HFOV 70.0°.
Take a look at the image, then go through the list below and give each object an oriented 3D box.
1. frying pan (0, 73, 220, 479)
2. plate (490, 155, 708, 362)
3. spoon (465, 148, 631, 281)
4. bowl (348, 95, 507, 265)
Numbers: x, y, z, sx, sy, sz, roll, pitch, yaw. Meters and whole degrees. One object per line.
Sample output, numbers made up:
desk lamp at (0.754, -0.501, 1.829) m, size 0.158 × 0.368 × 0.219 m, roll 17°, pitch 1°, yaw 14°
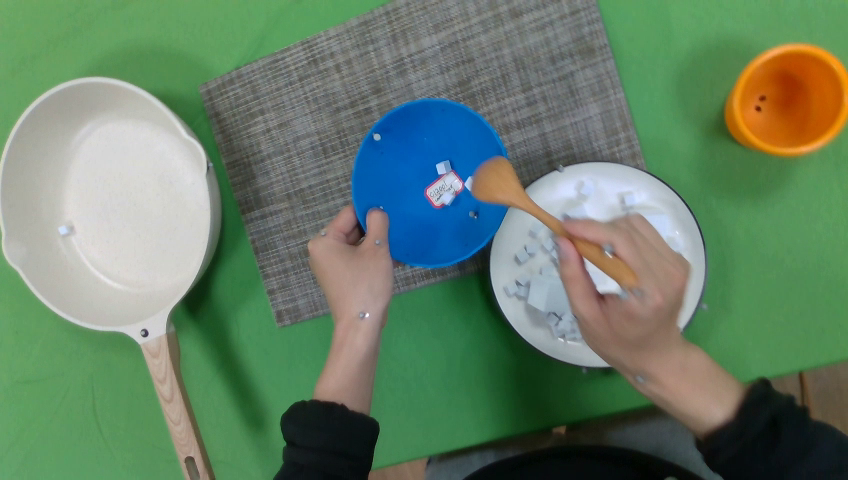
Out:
frying pan at (-0.334, 0.052, 0.709) m, size 0.306 × 0.103 × 0.486 m, roll -21°, pitch 83°, yaw 16°
plate at (0.172, 0.019, 0.613) m, size 0.207 × 0.039 × 0.208 m, roll 2°, pitch 99°, yaw 13°
spoon at (0.083, -0.023, 0.440) m, size 0.041 × 0.022 × 0.191 m, roll -53°, pitch 42°, yaw 7°
bowl at (0.013, -0.054, 0.569) m, size 0.151 × 0.077 × 0.151 m, roll 1°, pitch 94°, yaw 19°
